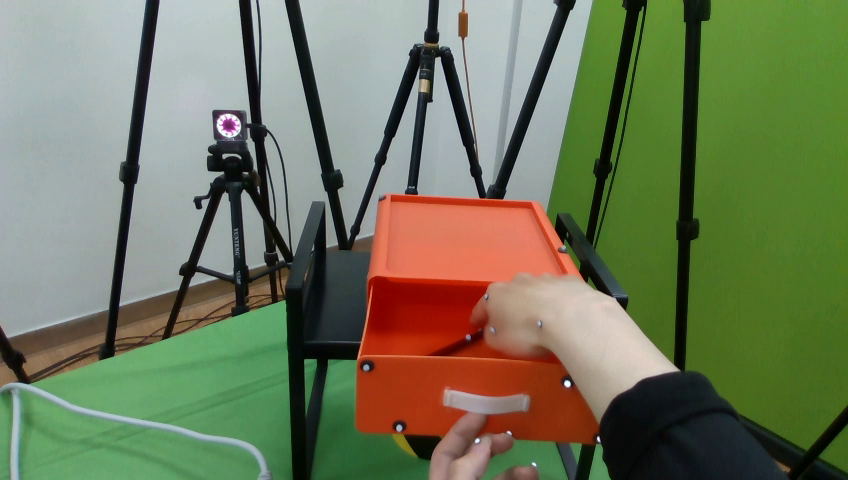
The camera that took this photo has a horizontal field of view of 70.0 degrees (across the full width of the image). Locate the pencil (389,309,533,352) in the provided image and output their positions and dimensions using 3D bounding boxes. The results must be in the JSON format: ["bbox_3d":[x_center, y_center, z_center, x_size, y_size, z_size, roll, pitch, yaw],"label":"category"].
[{"bbox_3d":[0.029,0.087,0.556,0.195,0.012,0.012,-10,29,-35],"label":"pencil"}]

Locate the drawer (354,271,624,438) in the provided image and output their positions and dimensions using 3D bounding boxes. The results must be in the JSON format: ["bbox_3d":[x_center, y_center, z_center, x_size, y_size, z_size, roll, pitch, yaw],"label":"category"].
[{"bbox_3d":[0.045,0.074,0.534,0.195,0.074,0.210,3,24,-2],"label":"drawer"}]

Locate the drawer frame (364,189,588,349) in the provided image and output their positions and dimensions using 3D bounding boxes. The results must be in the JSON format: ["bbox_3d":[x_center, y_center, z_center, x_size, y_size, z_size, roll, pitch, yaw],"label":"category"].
[{"bbox_3d":[0.042,0.022,0.638,0.202,0.083,0.212,2,25,-4],"label":"drawer frame"}]

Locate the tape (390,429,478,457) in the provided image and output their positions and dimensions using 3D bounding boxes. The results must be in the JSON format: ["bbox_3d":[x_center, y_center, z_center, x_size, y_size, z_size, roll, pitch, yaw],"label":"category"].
[{"bbox_3d":[0.015,0.197,0.722,0.117,0.053,0.116,4,26,-2],"label":"tape"}]

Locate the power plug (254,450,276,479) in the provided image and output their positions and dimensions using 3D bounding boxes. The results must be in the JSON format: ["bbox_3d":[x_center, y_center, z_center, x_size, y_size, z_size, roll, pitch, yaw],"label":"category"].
[{"bbox_3d":[-0.145,0.242,0.566,0.035,0.053,0.072,11,27,14],"label":"power plug"}]
